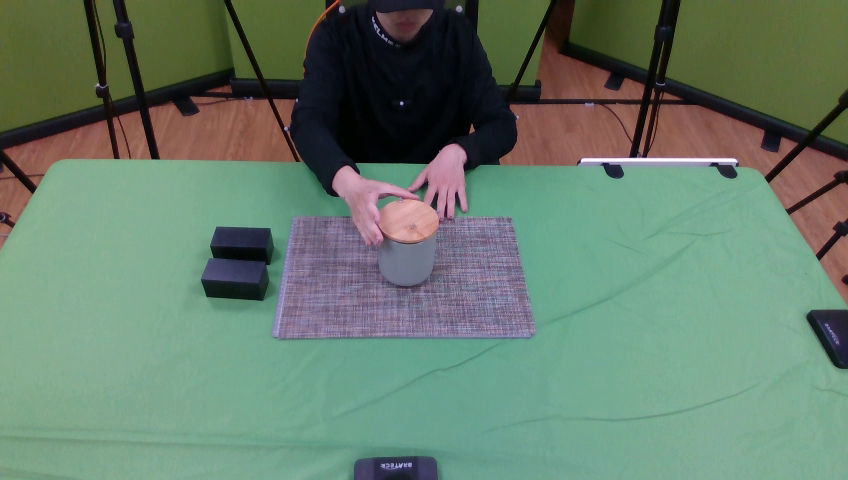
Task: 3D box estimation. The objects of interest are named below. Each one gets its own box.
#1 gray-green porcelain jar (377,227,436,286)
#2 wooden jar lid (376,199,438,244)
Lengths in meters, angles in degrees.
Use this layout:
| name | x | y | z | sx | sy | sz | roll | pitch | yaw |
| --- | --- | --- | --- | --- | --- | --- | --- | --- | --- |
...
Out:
| name | x | y | z | sx | sy | sz | roll | pitch | yaw |
| --- | --- | --- | --- | --- | --- | --- | --- | --- | --- |
| gray-green porcelain jar | -0.033 | 0.014 | 1.105 | 0.106 | 0.127 | 0.105 | 2 | 47 | -2 |
| wooden jar lid | -0.029 | -0.030 | 1.059 | 0.108 | 0.021 | 0.107 | 2 | 43 | -2 |
